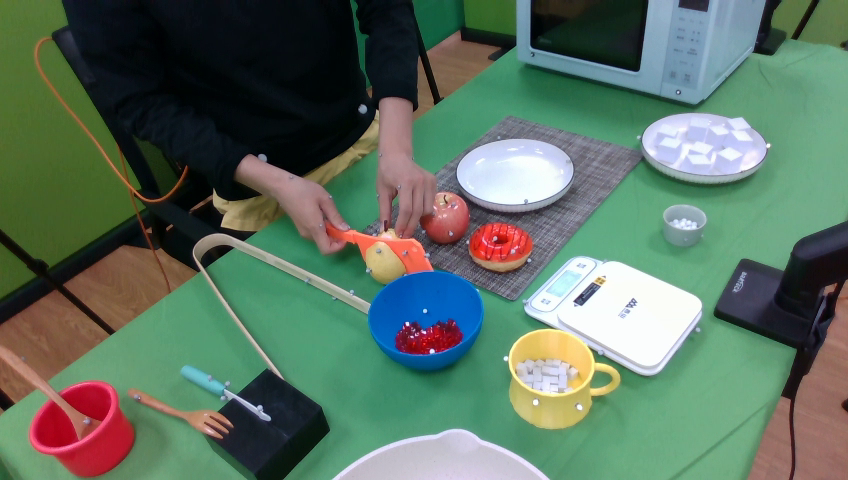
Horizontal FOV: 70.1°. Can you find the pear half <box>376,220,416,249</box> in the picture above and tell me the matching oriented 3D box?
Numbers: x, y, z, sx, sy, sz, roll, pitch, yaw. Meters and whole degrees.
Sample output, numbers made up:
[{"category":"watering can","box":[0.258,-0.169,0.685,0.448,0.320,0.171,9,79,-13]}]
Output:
[{"category":"pear half","box":[-0.044,0.006,0.907,0.076,0.110,0.056,14,46,21]}]

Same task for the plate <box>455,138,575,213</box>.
[{"category":"plate","box":[0.159,-0.111,1.063,0.209,0.038,0.208,-4,40,4]}]

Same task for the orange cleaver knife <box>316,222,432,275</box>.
[{"category":"orange cleaver knife","box":[-0.076,0.016,0.901,0.210,0.077,0.012,12,39,32]}]

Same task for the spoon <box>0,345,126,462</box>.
[{"category":"spoon","box":[-0.434,0.192,0.720,0.194,0.021,0.042,47,53,-7]}]

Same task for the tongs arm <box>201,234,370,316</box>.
[{"category":"tongs arm","box":[-0.208,0.062,0.924,0.381,0.026,0.051,24,53,32]}]

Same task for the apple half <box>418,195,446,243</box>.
[{"category":"apple half","box":[0.008,-0.028,0.959,0.033,0.081,0.080,-14,41,-12]}]

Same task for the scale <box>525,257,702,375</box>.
[{"category":"scale","box":[0.254,0.091,0.821,0.199,0.032,0.149,28,51,35]}]

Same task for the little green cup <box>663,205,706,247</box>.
[{"category":"little green cup","box":[0.396,-0.020,0.926,0.061,0.039,0.061,-4,40,4]}]

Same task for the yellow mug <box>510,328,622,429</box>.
[{"category":"yellow mug","box":[0.169,0.164,0.722,0.130,0.064,0.099,0,40,8]}]

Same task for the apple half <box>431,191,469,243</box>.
[{"category":"apple half","box":[0.045,-0.038,0.967,0.053,0.075,0.080,-13,38,-11]}]

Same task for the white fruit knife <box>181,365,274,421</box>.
[{"category":"white fruit knife","box":[-0.245,0.188,0.747,0.205,0.027,0.016,9,41,40]}]

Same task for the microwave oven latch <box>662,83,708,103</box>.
[{"category":"microwave oven latch","box":[0.518,-0.296,1.204,0.078,0.029,0.030,28,52,35]}]

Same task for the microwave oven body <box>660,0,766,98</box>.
[{"category":"microwave oven body","box":[0.472,-0.513,1.317,0.438,0.261,0.327,26,51,34]}]

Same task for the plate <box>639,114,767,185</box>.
[{"category":"plate","box":[0.489,-0.157,1.074,0.207,0.039,0.206,-4,40,4]}]

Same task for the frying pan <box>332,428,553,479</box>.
[{"category":"frying pan","box":[-0.089,0.306,0.564,0.487,0.103,0.306,10,41,7]}]

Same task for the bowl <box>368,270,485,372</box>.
[{"category":"bowl","box":[0.007,0.118,0.791,0.151,0.077,0.150,-5,40,4]}]

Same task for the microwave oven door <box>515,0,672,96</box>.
[{"category":"microwave oven door","box":[0.343,-0.454,1.259,0.353,0.245,0.039,26,51,33]}]

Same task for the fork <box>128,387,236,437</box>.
[{"category":"fork","box":[-0.305,0.207,0.744,0.206,0.019,0.028,3,41,36]}]

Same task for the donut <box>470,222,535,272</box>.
[{"category":"donut","box":[0.119,0.009,0.923,0.099,0.048,0.098,-4,38,3]}]

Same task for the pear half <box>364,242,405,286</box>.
[{"category":"pear half","box":[-0.063,0.042,0.887,0.070,0.088,0.031,12,53,19]}]

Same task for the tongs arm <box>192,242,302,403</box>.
[{"category":"tongs arm","box":[-0.268,0.108,0.883,0.028,0.028,0.384,-35,46,-18]}]
